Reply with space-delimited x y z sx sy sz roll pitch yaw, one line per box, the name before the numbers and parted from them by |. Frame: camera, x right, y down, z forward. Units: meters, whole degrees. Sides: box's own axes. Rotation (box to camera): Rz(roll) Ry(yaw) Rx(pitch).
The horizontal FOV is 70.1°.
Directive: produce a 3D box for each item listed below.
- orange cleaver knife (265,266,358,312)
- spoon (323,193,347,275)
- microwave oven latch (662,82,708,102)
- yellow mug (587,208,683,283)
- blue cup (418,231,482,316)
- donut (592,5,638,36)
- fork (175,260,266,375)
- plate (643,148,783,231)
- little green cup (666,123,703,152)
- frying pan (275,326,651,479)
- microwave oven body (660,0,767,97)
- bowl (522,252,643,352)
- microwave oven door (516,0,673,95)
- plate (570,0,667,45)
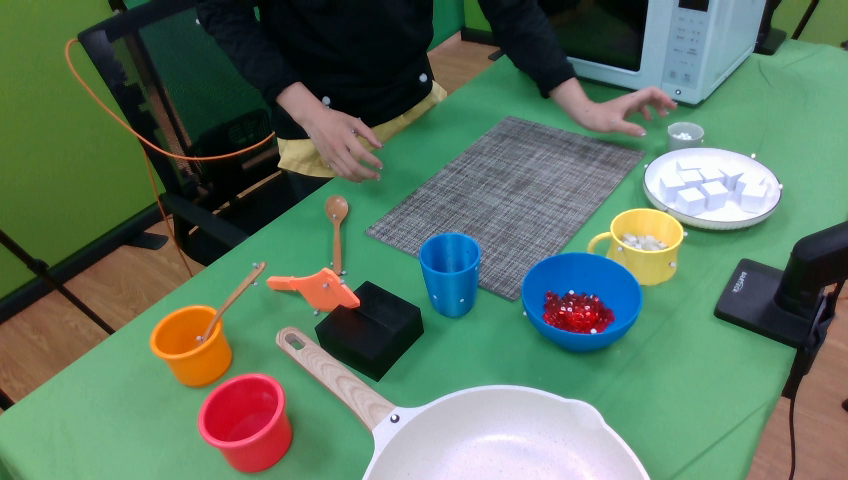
orange cleaver knife | -0.164 0.073 0.864 0.210 0.077 0.012 -6 31 50
spoon | -0.148 -0.014 1.008 0.042 0.022 0.192 1 40 -9
microwave oven latch | 0.517 -0.298 1.202 0.078 0.029 0.030 27 52 34
yellow mug | 0.305 0.009 0.884 0.131 0.064 0.099 -4 41 5
blue cup | 0.040 0.053 0.843 0.092 0.100 0.092 -4 43 4
donut | 0.428 -0.492 1.352 0.099 0.048 0.098 -6 41 6
fork | -0.268 0.102 0.792 0.207 0.019 0.028 -51 41 16
plate | 0.465 -0.080 0.986 0.207 0.039 0.206 -4 40 4
little green cup | 0.472 -0.183 1.102 0.061 0.039 0.061 -5 39 4
frying pan | 0.004 0.229 0.641 0.484 0.103 0.308 34 54 28
microwave oven body | 0.473 -0.516 1.313 0.438 0.261 0.327 26 51 34
bowl | 0.204 0.093 0.792 0.151 0.077 0.150 -4 40 4
microwave oven door | 0.344 -0.458 1.257 0.353 0.245 0.039 26 51 33
plate | 0.436 -0.490 1.368 0.209 0.038 0.208 -5 40 5
